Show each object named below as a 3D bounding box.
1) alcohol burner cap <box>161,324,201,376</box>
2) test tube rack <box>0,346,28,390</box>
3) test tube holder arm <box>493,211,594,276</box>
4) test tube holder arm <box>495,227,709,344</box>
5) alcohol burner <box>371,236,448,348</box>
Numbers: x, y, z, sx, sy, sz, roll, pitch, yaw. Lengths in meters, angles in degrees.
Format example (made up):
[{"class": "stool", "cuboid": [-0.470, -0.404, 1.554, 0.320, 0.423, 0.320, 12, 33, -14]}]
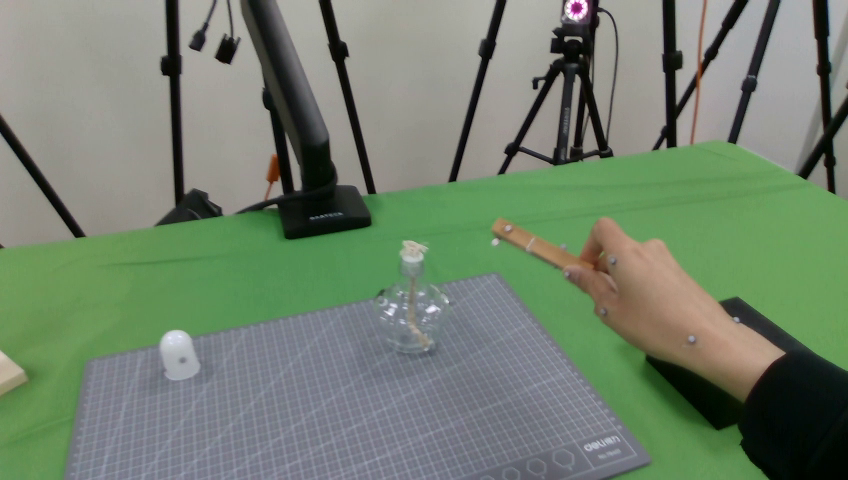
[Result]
[{"class": "alcohol burner cap", "cuboid": [-0.235, 0.103, 0.579, 0.034, 0.048, 0.033, -1, 31, 1]}, {"class": "test tube rack", "cuboid": [-0.479, 0.135, 0.494, 0.066, 0.086, 0.242, 21, 37, 30]}, {"class": "test tube holder arm", "cuboid": [0.093, 0.003, 0.476, 0.087, 0.010, 0.015, 32, 88, 26]}, {"class": "test tube holder arm", "cuboid": [0.129, 0.026, 0.462, 0.177, 0.013, 0.015, 32, 88, 25]}, {"class": "alcohol burner", "cuboid": [-0.014, 0.047, 0.598, 0.078, 0.120, 0.077, 1, 31, 0]}]
